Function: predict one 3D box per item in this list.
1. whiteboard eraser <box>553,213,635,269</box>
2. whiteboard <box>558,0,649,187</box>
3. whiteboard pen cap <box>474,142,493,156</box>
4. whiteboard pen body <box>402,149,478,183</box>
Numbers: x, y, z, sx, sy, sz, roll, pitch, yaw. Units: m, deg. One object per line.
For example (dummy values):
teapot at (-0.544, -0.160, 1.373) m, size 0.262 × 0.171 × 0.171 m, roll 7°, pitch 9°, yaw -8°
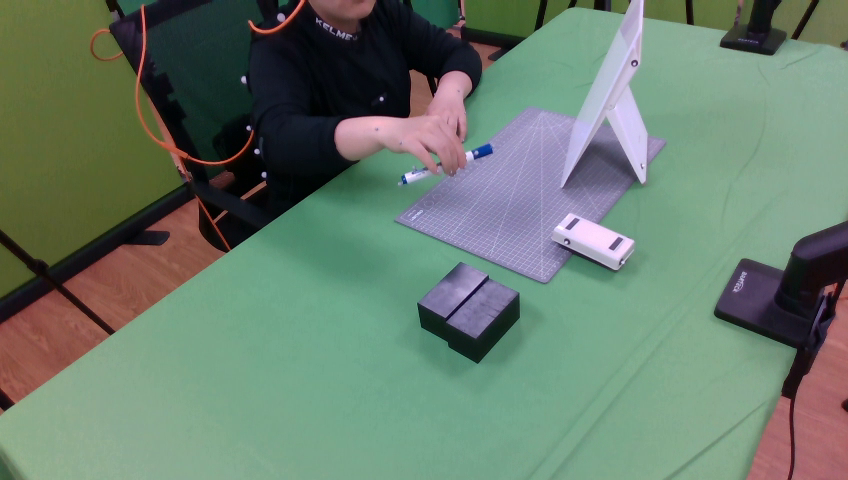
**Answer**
whiteboard eraser at (0.257, 0.003, 0.918) m, size 0.112 × 0.042 × 0.056 m, roll 27°, pitch 49°, yaw 30°
whiteboard at (0.361, -0.238, 1.026) m, size 0.144 × 0.306 × 0.217 m, roll 21°, pitch 44°, yaw 3°
whiteboard pen cap at (0.091, -0.139, 0.918) m, size 0.018 × 0.018 × 0.033 m, roll 24°, pitch 30°, yaw 32°
whiteboard pen body at (0.033, -0.115, 0.913) m, size 0.141 × 0.017 × 0.017 m, roll -20°, pitch 41°, yaw -3°
